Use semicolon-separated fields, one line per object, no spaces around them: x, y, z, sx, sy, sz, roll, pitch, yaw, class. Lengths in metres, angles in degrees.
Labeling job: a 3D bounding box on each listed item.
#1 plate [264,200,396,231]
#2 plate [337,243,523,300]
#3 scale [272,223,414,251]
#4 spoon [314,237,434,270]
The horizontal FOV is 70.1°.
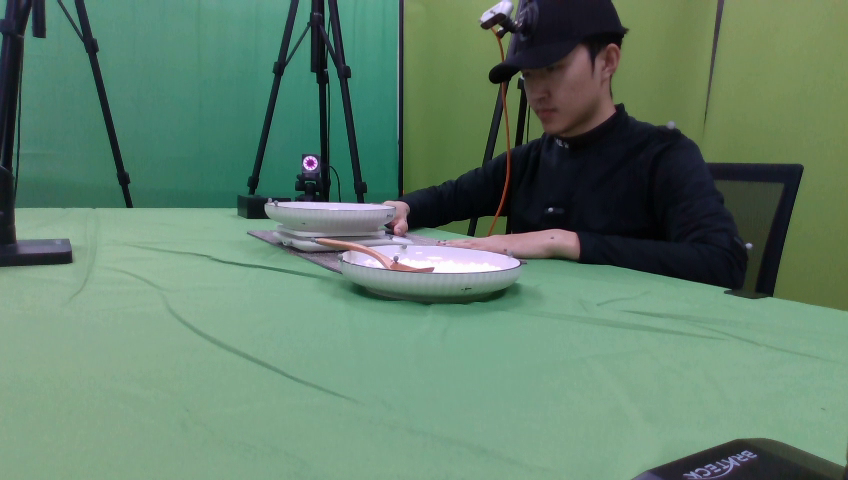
-0.150;-0.040;0.972;0.208;0.039;0.207;2;6;0;plate
0.007;0.035;0.688;0.209;0.038;0.209;2;6;0;plate
-0.131;-0.008;0.983;0.202;0.031;0.148;-2;8;-32;scale
-0.064;0.015;0.694;0.192;0.021;0.042;18;17;42;spoon
